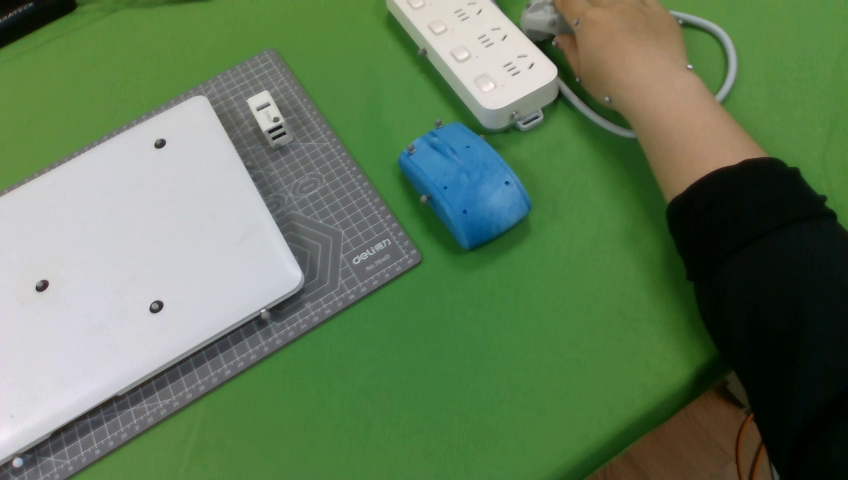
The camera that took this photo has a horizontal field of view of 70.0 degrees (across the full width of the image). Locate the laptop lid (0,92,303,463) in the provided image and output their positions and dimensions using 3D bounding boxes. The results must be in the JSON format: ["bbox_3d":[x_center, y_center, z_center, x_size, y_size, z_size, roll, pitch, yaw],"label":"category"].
[{"bbox_3d":[-0.291,0.035,0.470,0.357,0.013,0.239,-29,61,-7],"label":"laptop lid"}]

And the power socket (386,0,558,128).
[{"bbox_3d":[0.036,-0.185,0.541,0.072,0.033,0.224,-29,59,-6],"label":"power socket"}]

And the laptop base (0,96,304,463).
[{"bbox_3d":[-0.290,0.039,0.481,0.354,0.023,0.233,-31,62,-8],"label":"laptop base"}]

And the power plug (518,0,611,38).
[{"bbox_3d":[0.119,-0.197,0.538,0.073,0.035,0.052,1,33,-16],"label":"power plug"}]

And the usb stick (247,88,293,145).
[{"bbox_3d":[-0.138,-0.113,0.534,0.021,0.027,0.058,-30,56,-4],"label":"usb stick"}]

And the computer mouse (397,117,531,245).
[{"bbox_3d":[0.027,-0.052,0.462,0.063,0.041,0.116,-32,55,-5],"label":"computer mouse"}]
